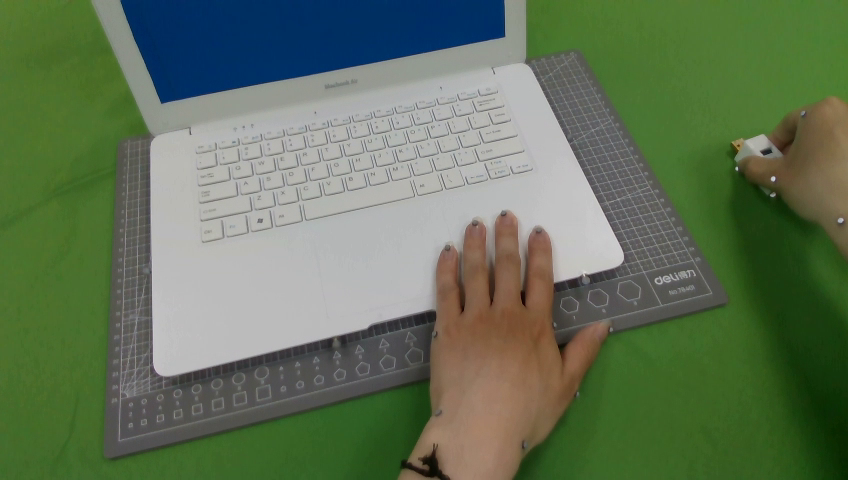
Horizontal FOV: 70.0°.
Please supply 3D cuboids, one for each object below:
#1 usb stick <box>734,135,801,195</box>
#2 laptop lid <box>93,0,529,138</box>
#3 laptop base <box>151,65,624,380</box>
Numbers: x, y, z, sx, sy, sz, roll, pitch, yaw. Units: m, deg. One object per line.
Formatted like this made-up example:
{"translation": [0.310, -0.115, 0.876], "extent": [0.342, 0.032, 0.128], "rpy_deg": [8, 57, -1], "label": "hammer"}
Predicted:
{"translation": [0.284, -0.067, 0.508], "extent": [0.021, 0.027, 0.058], "rpy_deg": [-32, 53, 4], "label": "usb stick"}
{"translation": [-0.084, -0.216, 0.492], "extent": [0.357, 0.244, 0.013], "rpy_deg": [-14, 39, -5], "label": "laptop lid"}
{"translation": [-0.043, -0.031, 0.503], "extent": [0.355, 0.023, 0.233], "rpy_deg": [-13, 60, -6], "label": "laptop base"}
